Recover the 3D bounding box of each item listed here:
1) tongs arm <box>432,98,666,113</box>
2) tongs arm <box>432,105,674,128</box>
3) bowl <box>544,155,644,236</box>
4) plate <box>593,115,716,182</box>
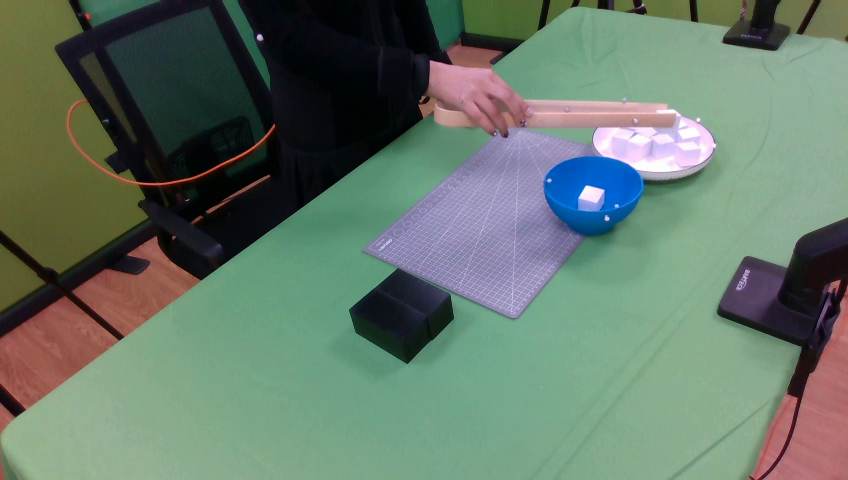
[{"bbox_3d":[0.205,-0.207,0.975,0.385,0.026,0.050,2,36,-1],"label":"tongs arm"},{"bbox_3d":[0.207,-0.194,0.956,0.388,0.028,0.028,0,39,-5],"label":"tongs arm"},{"bbox_3d":[0.266,-0.061,0.957,0.151,0.077,0.150,-5,40,5],"label":"bowl"},{"bbox_3d":[0.408,-0.163,1.084,0.207,0.039,0.206,-4,39,4],"label":"plate"}]
